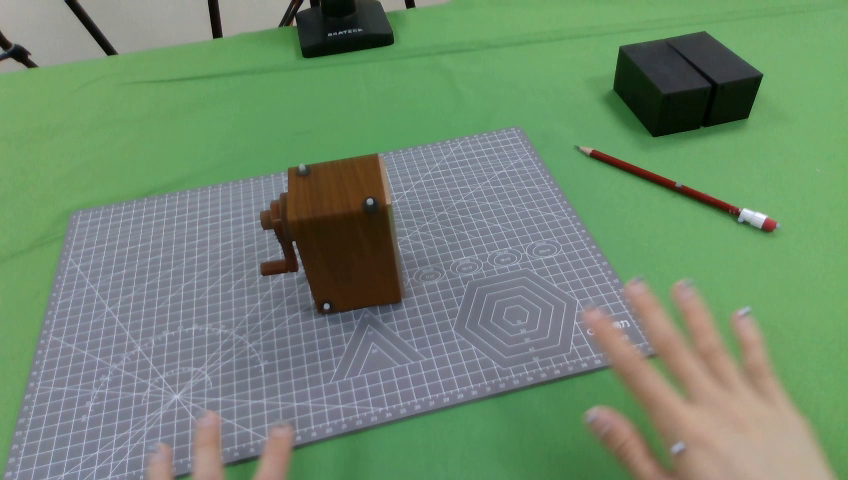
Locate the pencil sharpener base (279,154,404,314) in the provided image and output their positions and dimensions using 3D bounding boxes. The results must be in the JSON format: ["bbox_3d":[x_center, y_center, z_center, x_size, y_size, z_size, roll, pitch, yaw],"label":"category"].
[{"bbox_3d":[-0.059,-0.002,0.454,0.077,0.108,0.060,-9,45,-4],"label":"pencil sharpener base"}]

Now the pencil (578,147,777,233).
[{"bbox_3d":[0.223,-0.051,0.555,0.192,0.012,0.012,32,55,33],"label":"pencil"}]

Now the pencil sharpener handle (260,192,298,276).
[{"bbox_3d":[-0.110,-0.001,0.440,0.031,0.068,0.035,-9,38,-4],"label":"pencil sharpener handle"}]
